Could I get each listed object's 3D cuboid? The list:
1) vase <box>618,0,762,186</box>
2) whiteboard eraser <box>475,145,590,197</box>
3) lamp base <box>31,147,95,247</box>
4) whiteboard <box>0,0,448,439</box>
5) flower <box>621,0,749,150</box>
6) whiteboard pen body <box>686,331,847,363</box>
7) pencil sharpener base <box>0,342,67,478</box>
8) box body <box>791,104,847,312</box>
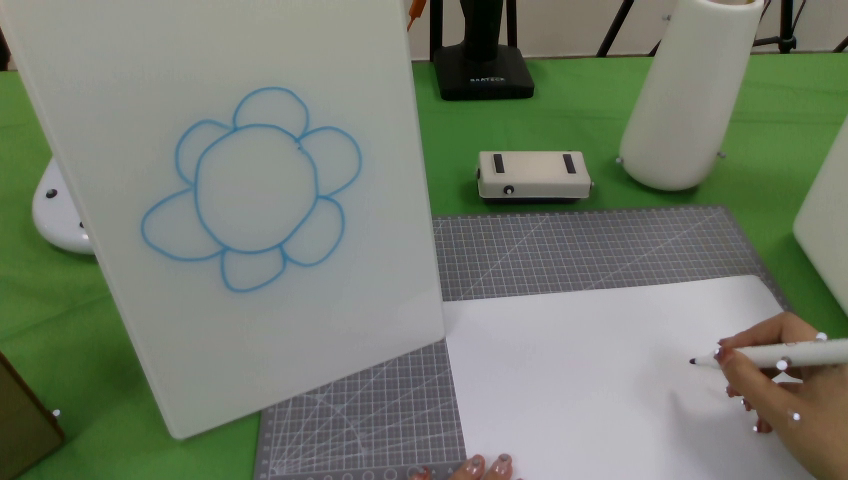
[{"bbox_3d":[0.263,-0.151,0.602,0.098,0.202,0.097,2,45,-1],"label":"vase"},{"bbox_3d":[0.110,-0.070,0.626,0.113,0.042,0.055,-2,43,-2],"label":"whiteboard eraser"},{"bbox_3d":[-0.307,-0.111,0.551,0.178,0.182,0.160,27,50,26],"label":"lamp base"},{"bbox_3d":[-0.123,-0.050,0.449,0.218,0.308,0.142,-17,29,-18],"label":"whiteboard"},{"bbox_3d":[0.276,-0.200,0.535,0.044,0.363,0.038,-22,67,-31],"label":"flower"},{"bbox_3d":[0.230,0.073,0.401,0.017,0.140,0.017,6,75,-24],"label":"whiteboard pen body"},{"bbox_3d":[-0.297,0.097,0.394,0.076,0.108,0.061,32,53,28],"label":"pencil sharpener base"},{"bbox_3d":[0.486,0.042,0.443,0.254,0.162,0.360,-2,45,-3],"label":"box body"}]
